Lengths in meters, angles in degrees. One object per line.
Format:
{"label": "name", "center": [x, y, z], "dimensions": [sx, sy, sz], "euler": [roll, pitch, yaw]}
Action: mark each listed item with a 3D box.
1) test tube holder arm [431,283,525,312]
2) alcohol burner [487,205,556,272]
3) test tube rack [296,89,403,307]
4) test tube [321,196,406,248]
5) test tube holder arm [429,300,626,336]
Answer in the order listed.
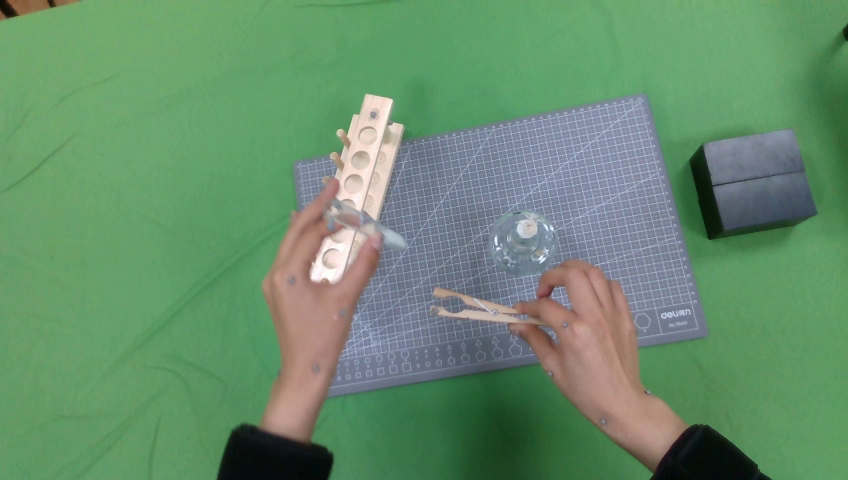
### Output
{"label": "test tube holder arm", "center": [0.050, 0.057, 0.560], "dimensions": [0.087, 0.015, 0.010], "euler": [16, 85, 6]}
{"label": "alcohol burner", "center": [0.108, -0.005, 0.666], "dimensions": [0.078, 0.119, 0.077], "euler": [-1, 77, 5]}
{"label": "test tube rack", "center": [-0.094, -0.050, 0.711], "dimensions": [0.066, 0.085, 0.241], "euler": [14, 80, 10]}
{"label": "test tube", "center": [-0.044, -0.012, 0.496], "dimensions": [0.017, 0.151, 0.017], "euler": [-3, 80, 17]}
{"label": "test tube holder arm", "center": [0.093, 0.071, 0.555], "dimensions": [0.178, 0.015, 0.013], "euler": [9, 85, 6]}
